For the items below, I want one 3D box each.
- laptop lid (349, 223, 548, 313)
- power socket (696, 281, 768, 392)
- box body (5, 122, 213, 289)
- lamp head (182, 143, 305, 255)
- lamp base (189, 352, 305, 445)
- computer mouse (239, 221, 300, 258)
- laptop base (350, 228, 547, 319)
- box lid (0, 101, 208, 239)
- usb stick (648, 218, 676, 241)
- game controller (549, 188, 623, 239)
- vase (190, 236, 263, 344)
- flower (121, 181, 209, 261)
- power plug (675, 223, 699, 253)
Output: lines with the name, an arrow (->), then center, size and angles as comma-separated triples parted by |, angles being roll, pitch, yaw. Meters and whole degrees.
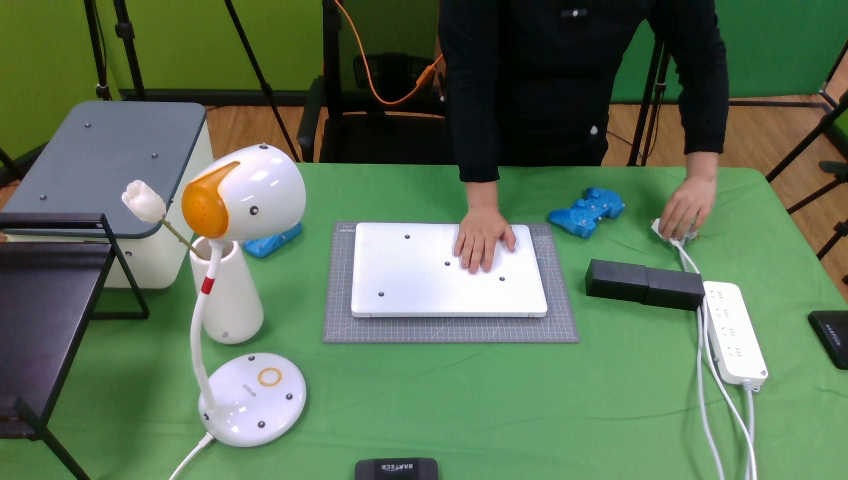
laptop lid -> 0.041, 0.047, 1.143 | 0.357, 0.013, 0.240 | 2, 43, -3
power socket -> 0.543, 0.161, 1.077 | 0.072, 0.033, 0.225 | 5, 46, 2
box body -> -0.563, -0.087, 1.140 | 0.254, 0.161, 0.361 | 2, 46, -3
lamp head -> -0.216, -0.044, 0.697 | 0.112, 0.113, 0.123 | 23, 31, 17
lamp base -> -0.268, 0.197, 0.876 | 0.160, 0.181, 0.179 | 25, 52, 20
computer mouse -> -0.300, -0.016, 1.178 | 0.062, 0.041, 0.117 | 35, 58, 22
laptop base -> 0.041, 0.056, 1.149 | 0.355, 0.023, 0.234 | 0, 43, -4
box lid -> -0.559, -0.138, 1.085 | 0.263, 0.015, 0.369 | 2, 46, -2
usb stick -> 0.486, -0.026, 1.242 | 0.021, 0.027, 0.059 | -7, 40, -28
game controller -> 0.345, -0.065, 1.272 | 0.155, 0.052, 0.096 | -31, 58, -29
vase -> -0.317, 0.081, 0.971 | 0.098, 0.201, 0.097 | 3, 47, -3
flower -> -0.329, 0.029, 0.905 | 0.038, 0.364, 0.044 | -21, 58, -1
power plug -> 0.538, 0.000, 1.243 | 0.053, 0.035, 0.072 | 20, 83, -16
